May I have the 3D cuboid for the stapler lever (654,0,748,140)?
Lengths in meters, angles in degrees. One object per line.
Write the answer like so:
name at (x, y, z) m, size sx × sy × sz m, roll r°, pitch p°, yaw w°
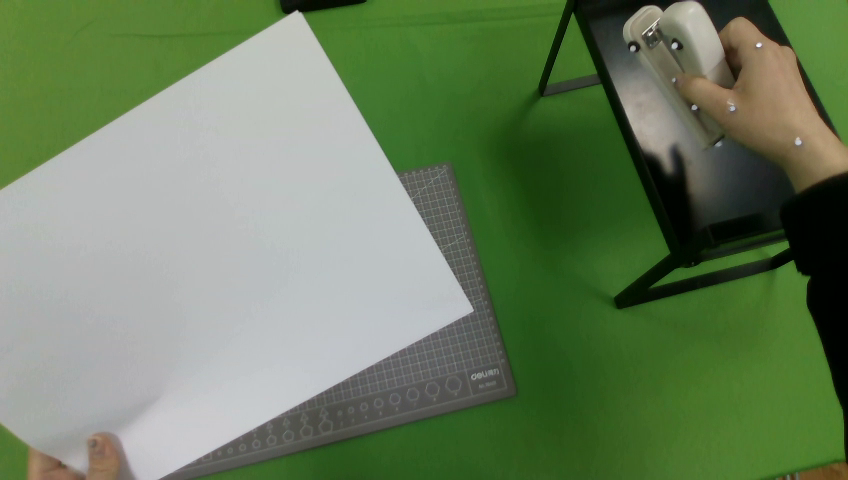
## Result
stapler lever at (0.224, -0.134, 0.478) m, size 0.027 × 0.040 × 0.118 m, roll -41°, pitch 105°, yaw -7°

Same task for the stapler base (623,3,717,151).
stapler base at (0.216, -0.136, 0.501) m, size 0.041 × 0.024 × 0.131 m, roll -41°, pitch 105°, yaw -7°
